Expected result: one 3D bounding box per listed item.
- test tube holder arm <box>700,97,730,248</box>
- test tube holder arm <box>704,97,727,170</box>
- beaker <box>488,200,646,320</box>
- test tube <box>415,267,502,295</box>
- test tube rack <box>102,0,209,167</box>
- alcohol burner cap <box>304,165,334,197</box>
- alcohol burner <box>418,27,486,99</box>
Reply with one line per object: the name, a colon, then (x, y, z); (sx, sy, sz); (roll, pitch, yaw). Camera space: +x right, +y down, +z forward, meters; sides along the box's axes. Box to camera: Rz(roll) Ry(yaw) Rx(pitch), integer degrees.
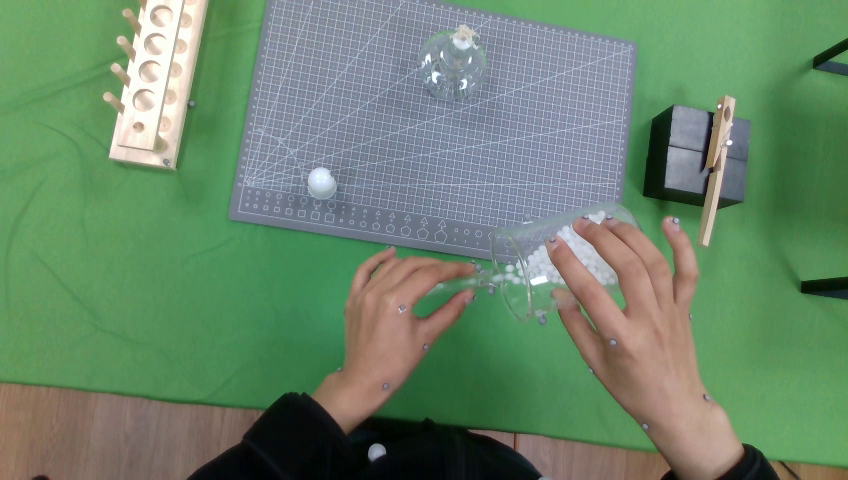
test tube holder arm: (0.337, -0.078, 0.700); (0.013, 0.015, 0.178); (9, 84, -5)
test tube holder arm: (0.339, -0.123, 0.705); (0.010, 0.015, 0.087); (11, 83, -4)
beaker: (0.108, 0.013, 0.464); (0.100, 0.084, 0.074); (-14, 84, -11)
test tube: (0.027, 0.039, 0.558); (0.017, 0.150, 0.017); (4, 81, -25)
test tube rack: (-0.282, -0.208, 0.634); (0.067, 0.085, 0.241); (9, 83, -7)
alcohol burner cap: (-0.115, -0.067, 0.663); (0.034, 0.048, 0.034); (1, 84, -9)
alcohol burner: (0.033, -0.201, 0.664); (0.078, 0.119, 0.077); (1, 84, -6)
